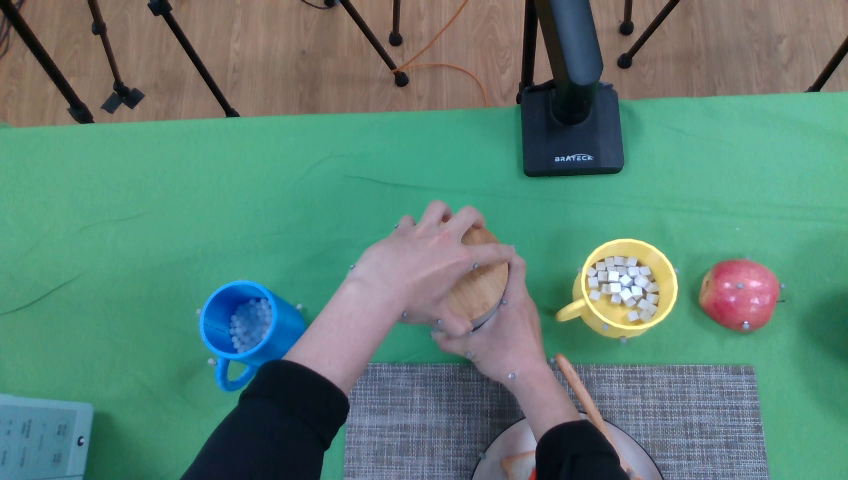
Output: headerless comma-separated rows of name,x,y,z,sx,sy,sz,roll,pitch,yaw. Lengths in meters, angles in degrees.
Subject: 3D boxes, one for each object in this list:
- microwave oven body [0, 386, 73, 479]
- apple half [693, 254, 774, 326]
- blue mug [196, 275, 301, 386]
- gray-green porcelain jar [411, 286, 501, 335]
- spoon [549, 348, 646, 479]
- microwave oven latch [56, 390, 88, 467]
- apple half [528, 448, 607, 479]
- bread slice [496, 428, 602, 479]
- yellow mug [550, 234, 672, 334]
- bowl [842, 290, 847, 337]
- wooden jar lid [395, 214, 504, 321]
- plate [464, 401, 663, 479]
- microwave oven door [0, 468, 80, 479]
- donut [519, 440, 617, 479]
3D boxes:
microwave oven body,-0.558,0.353,0.545,0.326,0.262,0.439,-1,74,5
apple half,0.343,0.051,0.666,0.074,0.054,0.080,21,77,13
blue mug,-0.197,0.106,0.671,0.082,0.106,0.116,19,76,11
gray-green porcelain jar,0.031,0.046,0.658,0.106,0.127,0.105,-1,73,5
spoon,0.182,0.198,0.625,0.041,0.022,0.193,-26,82,-5
microwave oven latch,-0.400,0.209,0.674,0.030,0.030,0.078,5,75,6
apple half,0.138,0.238,0.567,0.081,0.033,0.081,-4,71,11
bread slice,0.146,0.271,0.623,0.107,0.018,0.133,-18,74,0
yellow mug,0.201,0.056,0.671,0.131,0.064,0.099,-24,73,-1
bowl,0.503,0.086,0.628,0.151,0.077,0.150,-1,74,5
wooden jar lid,0.025,0.028,0.599,0.108,0.021,0.107,-2,72,6
plate,0.141,0.273,0.623,0.207,0.039,0.206,-1,74,5
microwave oven door,-0.414,0.390,0.516,0.039,0.245,0.353,-1,73,6
donut,0.144,0.249,0.600,0.099,0.048,0.098,-1,73,5
